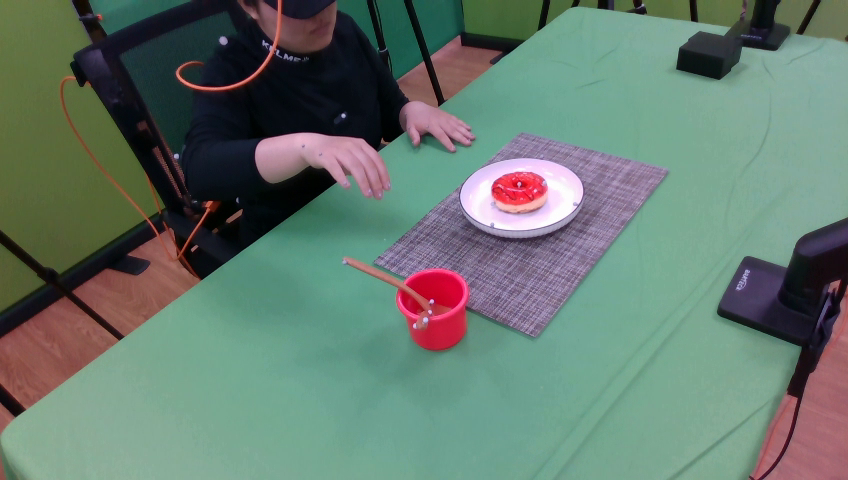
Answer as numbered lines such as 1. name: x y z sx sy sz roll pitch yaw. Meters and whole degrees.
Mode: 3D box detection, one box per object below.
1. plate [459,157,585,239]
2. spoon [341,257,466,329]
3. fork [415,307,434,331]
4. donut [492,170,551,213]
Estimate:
1. plate: 0.163 -0.068 1.015 0.209 0.038 0.208 -5 40 5
2. spoon: -0.025 0.069 0.811 0.195 0.021 0.041 34 30 -18
3. fork: 0.001 0.098 0.761 0.028 0.207 0.018 26 87 3
4. donut: 0.163 -0.083 1.015 0.099 0.048 0.098 -6 37 5
